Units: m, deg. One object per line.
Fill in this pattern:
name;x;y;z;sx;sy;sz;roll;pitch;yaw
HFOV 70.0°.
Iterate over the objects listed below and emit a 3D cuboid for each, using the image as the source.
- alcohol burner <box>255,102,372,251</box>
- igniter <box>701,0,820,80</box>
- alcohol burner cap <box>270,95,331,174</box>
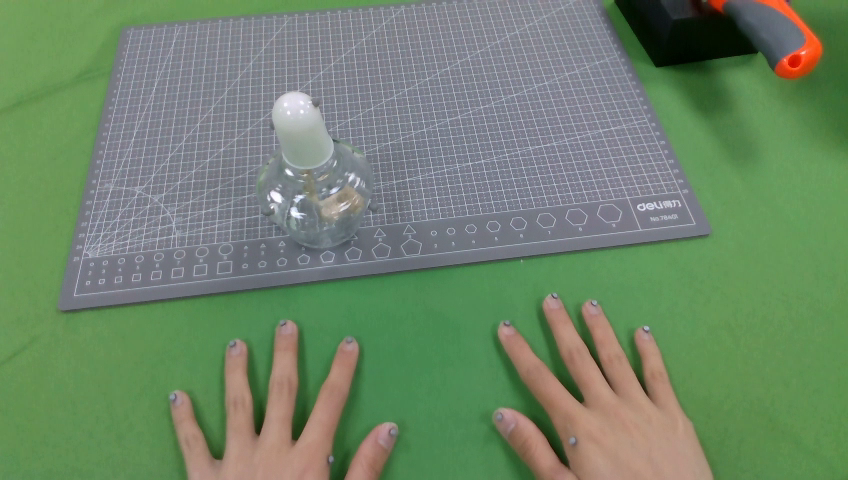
alcohol burner;-0.074;-0.045;0.392;0.078;0.120;0.077;0;57;1
igniter;0.249;-0.228;0.515;0.057;0.025;0.273;-11;54;-4
alcohol burner cap;-0.075;-0.066;0.363;0.034;0.048;0.033;0;59;1
